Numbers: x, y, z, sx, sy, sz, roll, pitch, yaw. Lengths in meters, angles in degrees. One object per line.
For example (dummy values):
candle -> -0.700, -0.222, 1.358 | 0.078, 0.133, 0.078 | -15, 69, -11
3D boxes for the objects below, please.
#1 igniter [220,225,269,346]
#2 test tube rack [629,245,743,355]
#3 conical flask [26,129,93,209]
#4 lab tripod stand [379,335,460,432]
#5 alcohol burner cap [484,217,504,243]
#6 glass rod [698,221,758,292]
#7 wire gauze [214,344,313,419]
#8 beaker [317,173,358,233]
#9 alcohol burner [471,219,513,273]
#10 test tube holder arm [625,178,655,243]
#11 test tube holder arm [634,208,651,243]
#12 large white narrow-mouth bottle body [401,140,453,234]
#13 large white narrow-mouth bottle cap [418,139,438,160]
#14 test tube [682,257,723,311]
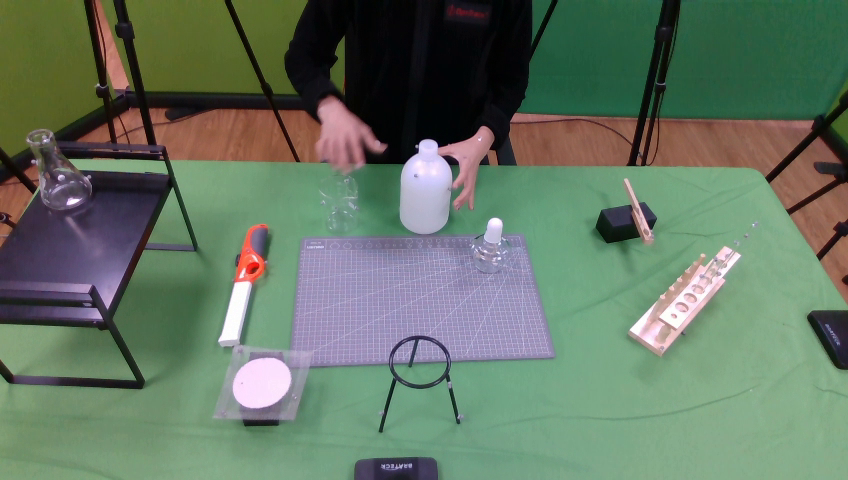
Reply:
igniter -> -0.323, 0.072, 1.100 | 0.057, 0.025, 0.275 | -6, 46, 5
test tube rack -> 0.474, 0.095, 1.091 | 0.242, 0.085, 0.066 | -34, 56, -31
conical flask -> -0.575, -0.113, 0.946 | 0.075, 0.122, 0.075 | 2, 46, -2
lab tripod stand -> -0.011, 0.214, 0.911 | 0.148, 0.132, 0.147 | 1, 45, 0
alcohol burner cap -> 0.130, -0.021, 1.107 | 0.034, 0.048, 0.033 | 4, 40, -3
glass rod -> 0.527, 0.035, 1.059 | 0.008, 0.200, 0.008 | 5, 49, -6
wire gauze -> -0.241, 0.213, 0.915 | 0.121, 0.011, 0.124 | 5, 46, 1
beaker -> -0.166, -0.070, 1.198 | 0.083, 0.101, 0.074 | 25, 50, 18
alcohol burner -> 0.128, 0.005, 1.132 | 0.078, 0.120, 0.077 | 0, 47, 0
test tube holder arm -> 0.433, -0.062, 1.220 | 0.013, 0.015, 0.177 | 1, 47, -3
test tube holder arm -> 0.428, -0.030, 1.189 | 0.010, 0.015, 0.087 | 1, 47, -2
large white narrow-mouth bottle body -> 0.006, -0.110, 1.182 | 0.102, 0.195, 0.101 | 2, 46, -2
large white narrow-mouth bottle cap -> 0.008, -0.168, 1.120 | 0.038, 0.024, 0.037 | 2, 46, -2
test tube -> 0.475, 0.080, 1.037 | 0.017, 0.151, 0.017 | 1, 50, -1
